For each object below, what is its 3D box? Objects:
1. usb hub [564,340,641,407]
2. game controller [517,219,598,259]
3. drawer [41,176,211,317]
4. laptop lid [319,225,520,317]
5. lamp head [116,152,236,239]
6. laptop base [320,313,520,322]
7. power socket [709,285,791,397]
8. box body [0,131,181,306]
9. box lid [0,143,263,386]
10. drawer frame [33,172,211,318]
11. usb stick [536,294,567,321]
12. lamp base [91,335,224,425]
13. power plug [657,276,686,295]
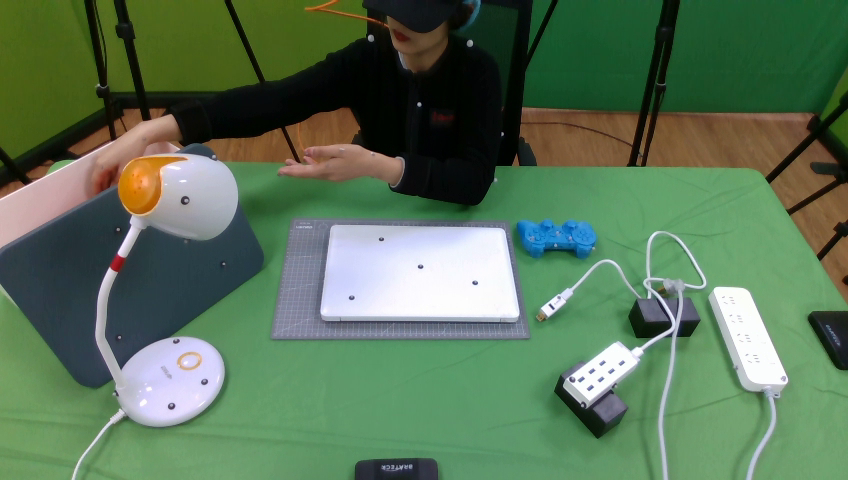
[{"bbox_3d":[0.278,0.205,0.944,0.125,0.025,0.049,-27,52,-28],"label":"usb hub"},{"bbox_3d":[0.269,-0.012,1.210,0.155,0.052,0.096,1,50,-2],"label":"game controller"},{"bbox_3d":[-0.533,0.008,1.096,0.194,0.073,0.211,26,60,17],"label":"drawer"},{"bbox_3d":[-0.008,0.052,1.131,0.357,0.013,0.240,2,43,-2],"label":"laptop lid"},{"bbox_3d":[-0.315,-0.057,0.747,0.112,0.112,0.123,26,10,20],"label":"lamp head"},{"bbox_3d":[-0.008,0.062,1.138,0.354,0.023,0.234,0,42,-3],"label":"laptop base"},{"bbox_3d":[0.567,0.167,1.064,0.072,0.033,0.225,2,46,0],"label":"power socket"},{"bbox_3d":[-0.550,-0.007,1.068,0.253,0.161,0.363,30,51,23],"label":"box body"},{"bbox_3d":[-0.444,0.032,0.979,0.015,0.264,0.371,13,42,41],"label":"box lid"},{"bbox_3d":[-0.534,0.004,1.087,0.201,0.083,0.213,24,59,19],"label":"drawer frame"},{"bbox_3d":[0.226,0.123,1.083,0.059,0.027,0.021,-38,76,-8],"label":"usb stick"},{"bbox_3d":[-0.401,0.171,0.892,0.160,0.181,0.179,30,53,23],"label":"lamp base"},{"bbox_3d":[0.450,0.087,1.113,0.073,0.052,0.035,-12,71,-55],"label":"power plug"}]
